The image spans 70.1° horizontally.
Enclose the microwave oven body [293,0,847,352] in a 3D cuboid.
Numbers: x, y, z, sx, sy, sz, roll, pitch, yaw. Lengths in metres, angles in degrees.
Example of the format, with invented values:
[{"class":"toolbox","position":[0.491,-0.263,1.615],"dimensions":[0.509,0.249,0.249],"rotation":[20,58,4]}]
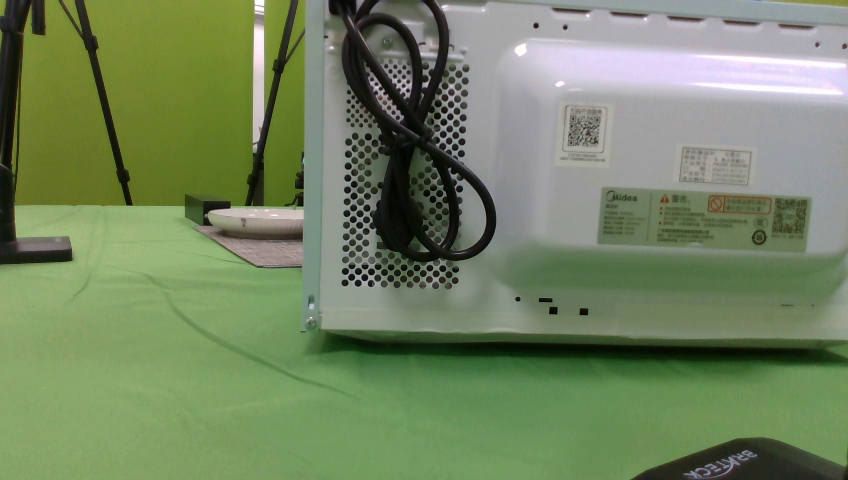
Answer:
[{"class":"microwave oven body","position":[0.122,-0.055,0.550],"dimensions":[0.442,0.260,0.325],"rotation":[3,7,-5]}]

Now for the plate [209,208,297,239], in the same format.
[{"class":"plate","position":[-0.271,-0.029,1.074],"dimensions":[0.208,0.039,0.207],"rotation":[3,7,0]}]

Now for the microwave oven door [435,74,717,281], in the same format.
[{"class":"microwave oven door","position":[0.180,-0.089,0.797],"dimensions":[0.354,0.243,0.039],"rotation":[7,9,30]}]

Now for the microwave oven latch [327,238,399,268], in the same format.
[{"class":"microwave oven latch","position":[-0.070,0.015,0.694],"dimensions":[0.079,0.029,0.030],"rotation":[3,7,-2]}]

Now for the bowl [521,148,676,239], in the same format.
[{"class":"bowl","position":[0.176,-0.042,0.606],"dimensions":[0.151,0.077,0.151],"rotation":[-5,1,0]}]
